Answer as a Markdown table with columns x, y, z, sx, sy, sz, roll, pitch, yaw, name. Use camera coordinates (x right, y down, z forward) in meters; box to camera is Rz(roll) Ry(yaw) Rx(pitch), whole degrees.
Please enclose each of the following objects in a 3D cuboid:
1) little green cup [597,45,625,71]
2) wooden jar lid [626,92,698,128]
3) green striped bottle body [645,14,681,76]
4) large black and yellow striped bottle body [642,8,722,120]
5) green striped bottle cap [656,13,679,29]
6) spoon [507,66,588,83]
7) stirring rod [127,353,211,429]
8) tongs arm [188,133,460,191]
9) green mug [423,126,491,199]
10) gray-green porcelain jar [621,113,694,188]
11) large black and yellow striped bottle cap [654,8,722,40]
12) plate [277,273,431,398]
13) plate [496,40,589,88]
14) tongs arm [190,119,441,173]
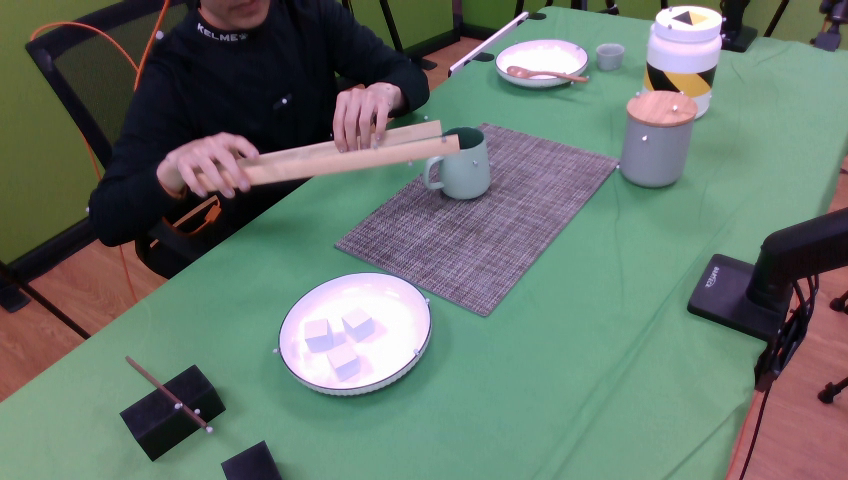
| x | y | z | sx | sy | sz | roll | pitch | yaw | name |
| --- | --- | --- | --- | --- | --- | --- | --- | --- | --- |
| 0.422 | -0.413 | 1.375 | 0.061 | 0.039 | 0.061 | -3 | 41 | 3 | little green cup |
| 0.384 | -0.207 | 0.980 | 0.108 | 0.021 | 0.108 | -6 | 39 | 5 | wooden jar lid |
| 0.520 | -0.424 | 1.312 | 0.063 | 0.120 | 0.063 | -4 | 41 | 4 | green striped bottle body |
| 0.493 | -0.334 | 1.161 | 0.131 | 0.185 | 0.130 | -4 | 41 | 4 | large black and yellow striped bottle body |
| 0.515 | -0.463 | 1.278 | 0.044 | 0.020 | 0.044 | -6 | 42 | 6 | green striped bottle cap |
| 0.265 | -0.357 | 1.311 | 0.192 | 0.022 | 0.042 | 18 | 47 | 38 | spoon |
| -0.311 | 0.180 | 0.731 | 0.175 | 0.014 | 0.006 | 25 | 53 | 31 | stirring rod |
| -0.143 | -0.112 | 0.852 | 0.385 | 0.026 | 0.050 | -10 | 22 | -2 | tongs arm |
| 0.055 | -0.126 | 1.040 | 0.126 | 0.105 | 0.091 | -24 | 44 | -18 | green mug |
| 0.390 | -0.161 | 1.020 | 0.106 | 0.127 | 0.105 | -4 | 41 | 4 | gray-green porcelain jar |
| 0.483 | -0.397 | 1.108 | 0.115 | 0.019 | 0.114 | -3 | 41 | 3 | large black and yellow striped bottle cap |
| -0.091 | 0.129 | 0.821 | 0.207 | 0.039 | 0.206 | -4 | 40 | 4 | plate |
| 0.268 | -0.397 | 1.381 | 0.209 | 0.038 | 0.208 | -4 | 41 | 4 | plate |
| -0.155 | -0.138 | 0.927 | 0.389 | 0.028 | 0.028 | -14 | 26 | -14 | tongs arm |
